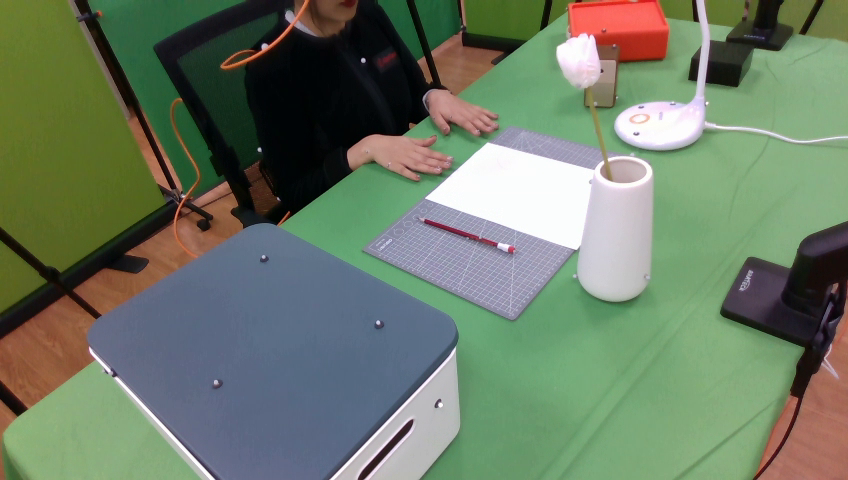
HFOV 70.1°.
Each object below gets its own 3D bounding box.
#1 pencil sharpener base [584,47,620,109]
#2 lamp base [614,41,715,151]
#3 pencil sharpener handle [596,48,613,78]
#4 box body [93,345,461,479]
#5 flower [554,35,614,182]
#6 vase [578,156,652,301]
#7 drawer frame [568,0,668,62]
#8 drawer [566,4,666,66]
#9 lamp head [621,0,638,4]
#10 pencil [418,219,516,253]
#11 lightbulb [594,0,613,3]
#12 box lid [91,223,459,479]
[{"bbox_3d":[0.367,-0.336,1.249,0.061,0.107,0.076,6,42,19],"label":"pencil sharpener base"},{"bbox_3d":[0.449,-0.277,1.106,0.179,0.181,0.160,1,41,9],"label":"lamp base"},{"bbox_3d":[0.383,-0.378,1.276,0.036,0.068,0.030,3,41,21],"label":"pencil sharpener handle"},{"bbox_3d":[-0.162,0.170,0.708,0.361,0.161,0.255,25,50,34],"label":"box body"},{"bbox_3d":[0.237,-0.083,0.774,0.044,0.363,0.038,-22,26,6],"label":"flower"},{"bbox_3d":[0.261,-0.011,0.812,0.098,0.201,0.097,-4,40,4],"label":"vase"},{"bbox_3d":[0.450,-0.496,1.441,0.213,0.083,0.201,-1,40,9],"label":"drawer frame"},{"bbox_3d":[0.447,-0.493,1.441,0.211,0.073,0.194,0,40,10],"label":"drawer"},{"bbox_3d":[0.319,-0.453,0.962,0.113,0.123,0.112,20,33,-13],"label":"lamp head"},{"bbox_3d":[0.066,-0.009,0.992,0.192,0.012,0.012,19,47,32],"label":"pencil"},{"bbox_3d":[0.305,-0.438,0.978,0.060,0.107,0.059,13,43,-11],"label":"lightbulb"},{"bbox_3d":[-0.174,0.103,0.667,0.368,0.015,0.264,24,48,35],"label":"box lid"}]
